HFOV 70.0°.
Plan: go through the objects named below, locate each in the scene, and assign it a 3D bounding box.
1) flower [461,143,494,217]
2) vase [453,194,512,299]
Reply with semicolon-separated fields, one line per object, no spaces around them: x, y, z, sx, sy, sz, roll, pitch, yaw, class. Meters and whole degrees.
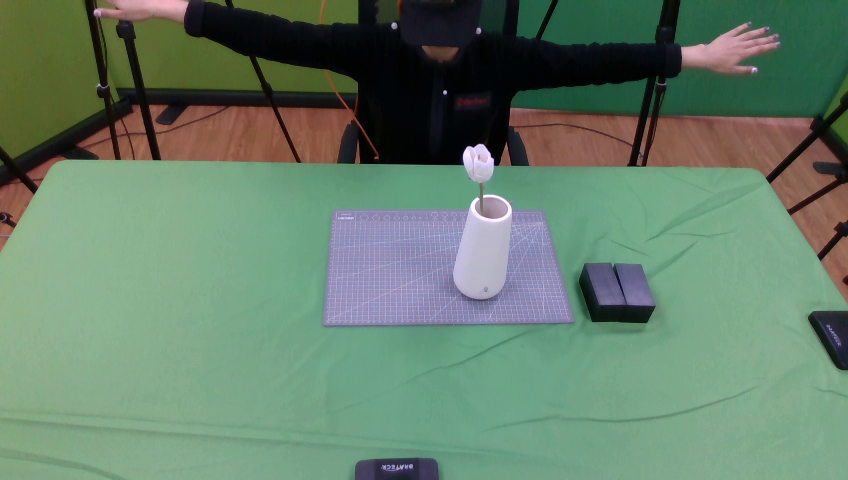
0.097;-0.035;0.998;0.044;0.363;0.038;20;65;19;flower
0.106;0.016;1.065;0.098;0.201;0.097;3;47;-3;vase
